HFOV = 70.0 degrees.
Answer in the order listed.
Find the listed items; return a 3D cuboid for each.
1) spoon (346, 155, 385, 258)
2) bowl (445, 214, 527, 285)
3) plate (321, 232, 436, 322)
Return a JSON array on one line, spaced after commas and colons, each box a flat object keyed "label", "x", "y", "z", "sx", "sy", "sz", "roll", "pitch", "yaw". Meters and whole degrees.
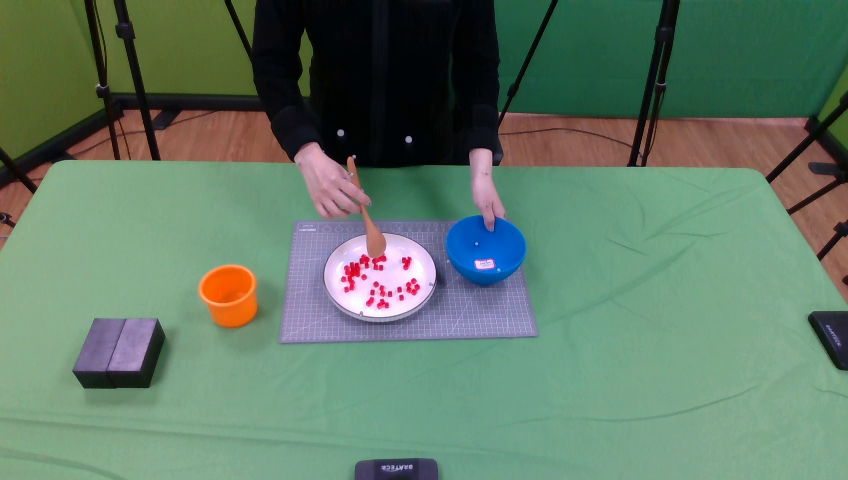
[{"label": "spoon", "x": -0.106, "y": -0.054, "z": 1.047, "sx": 0.041, "sy": 0.194, "sz": 0.021, "roll": -28, "pitch": 25, "yaw": -24}, {"label": "bowl", "x": 0.111, "y": 0.031, "z": 1.133, "sx": 0.151, "sy": 0.077, "sz": 0.150, "roll": 2, "pitch": 46, "yaw": -1}, {"label": "plate", "x": -0.083, "y": 0.070, "z": 1.109, "sx": 0.209, "sy": 0.038, "sz": 0.208, "roll": 3, "pitch": 46, "yaw": -3}]
